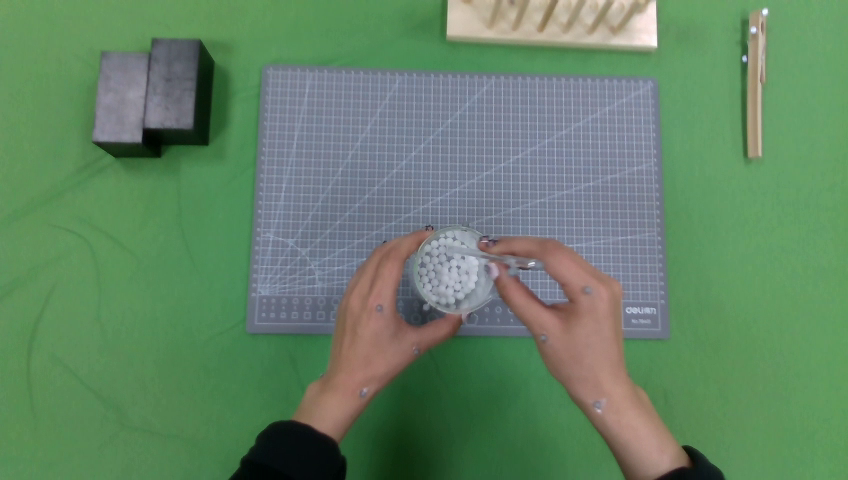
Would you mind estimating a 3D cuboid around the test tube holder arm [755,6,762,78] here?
[{"bbox_3d":[0.386,-0.230,0.707,0.010,0.015,0.087,13,79,-30],"label":"test tube holder arm"}]

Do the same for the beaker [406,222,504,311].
[{"bbox_3d":[0.023,0.027,0.551,0.084,0.100,0.074,19,85,-5],"label":"beaker"}]

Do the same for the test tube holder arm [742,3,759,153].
[{"bbox_3d":[0.376,-0.187,0.697,0.013,0.015,0.178,12,80,-30],"label":"test tube holder arm"}]

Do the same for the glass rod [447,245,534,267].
[{"bbox_3d":[0.044,0.011,0.461,0.008,0.199,0.008,-1,92,-12],"label":"glass rod"}]

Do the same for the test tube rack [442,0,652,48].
[{"bbox_3d":[0.144,-0.269,0.667,0.242,0.085,0.066,2,80,-2],"label":"test tube rack"}]
